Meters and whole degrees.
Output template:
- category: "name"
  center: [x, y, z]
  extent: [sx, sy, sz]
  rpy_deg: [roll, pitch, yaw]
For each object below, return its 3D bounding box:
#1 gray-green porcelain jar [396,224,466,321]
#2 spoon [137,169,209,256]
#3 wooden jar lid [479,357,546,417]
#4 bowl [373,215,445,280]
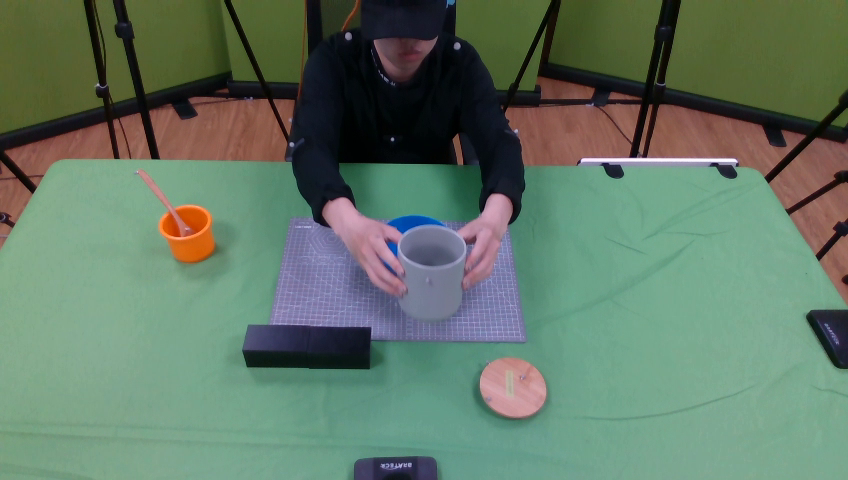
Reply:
- category: "gray-green porcelain jar"
  center: [0.009, 0.055, 0.946]
  extent: [0.106, 0.127, 0.105]
  rpy_deg: [2, 39, -1]
- category: "spoon"
  center: [-0.466, -0.051, 1.123]
  extent: [0.041, 0.194, 0.021]
  rpy_deg: [-40, 17, -33]
- category: "wooden jar lid"
  center: [0.142, 0.240, 0.979]
  extent: [0.108, 0.021, 0.107]
  rpy_deg: [1, 46, -1]
- category: "bowl"
  center: [-0.019, 0.032, 1.123]
  extent: [0.151, 0.077, 0.150]
  rpy_deg: [3, 46, -3]
